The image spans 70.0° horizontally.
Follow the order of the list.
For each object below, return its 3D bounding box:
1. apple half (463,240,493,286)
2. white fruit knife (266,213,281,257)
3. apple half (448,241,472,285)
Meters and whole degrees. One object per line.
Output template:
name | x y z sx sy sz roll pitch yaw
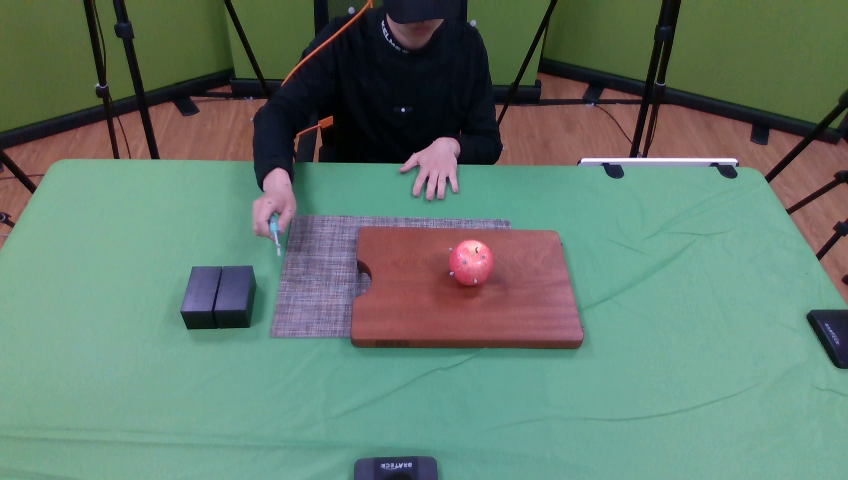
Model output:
apple half | 0.097 0.042 1.093 0.053 0.075 0.080 -3 42 -13
white fruit knife | -0.264 -0.011 1.072 0.016 0.027 0.206 -9 22 -16
apple half | 0.059 0.046 1.085 0.033 0.081 0.080 -4 46 -13
